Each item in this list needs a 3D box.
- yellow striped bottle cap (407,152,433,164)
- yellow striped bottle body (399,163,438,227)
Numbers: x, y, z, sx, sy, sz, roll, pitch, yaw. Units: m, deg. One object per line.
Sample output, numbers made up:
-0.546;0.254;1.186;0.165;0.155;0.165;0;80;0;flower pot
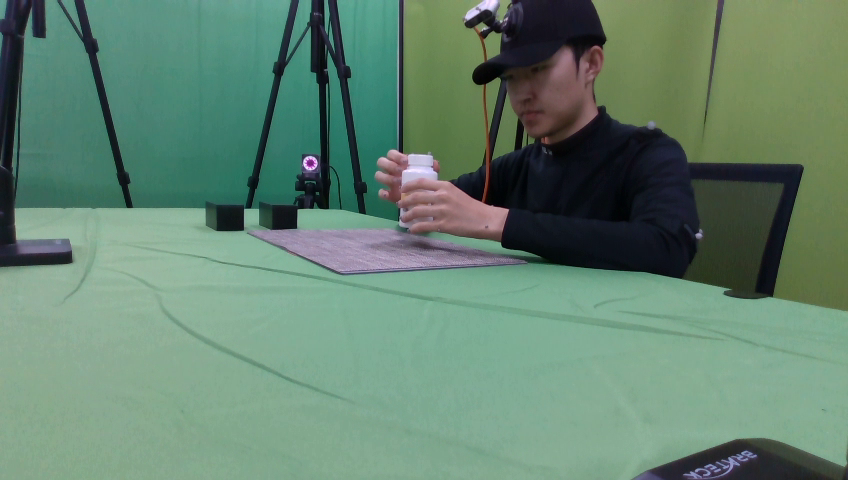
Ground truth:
-0.007;-0.138;1.028;0.044;0.018;0.044;4;3;0;yellow striped bottle cap
-0.009;-0.084;1.032;0.063;0.120;0.063;3;3;0;yellow striped bottle body
